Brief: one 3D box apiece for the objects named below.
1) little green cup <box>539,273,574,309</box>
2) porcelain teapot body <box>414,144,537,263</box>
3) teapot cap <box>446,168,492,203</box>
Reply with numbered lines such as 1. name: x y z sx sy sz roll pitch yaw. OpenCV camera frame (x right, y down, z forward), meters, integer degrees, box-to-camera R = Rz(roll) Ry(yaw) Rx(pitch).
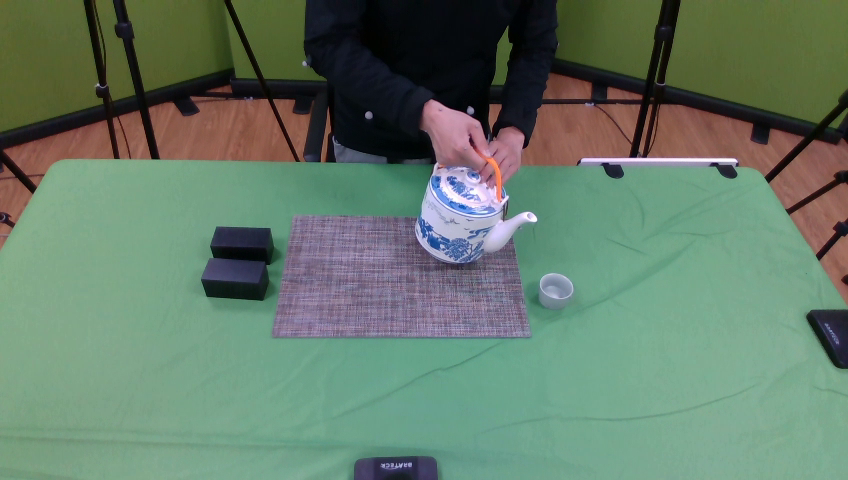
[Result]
1. little green cup: 0.241 0.096 1.113 0.061 0.039 0.061 2 47 -2
2. porcelain teapot body: 0.098 -0.058 1.081 0.205 0.226 0.145 29 45 10
3. teapot cap: 0.081 -0.099 1.058 0.085 0.044 0.084 10 48 -11
